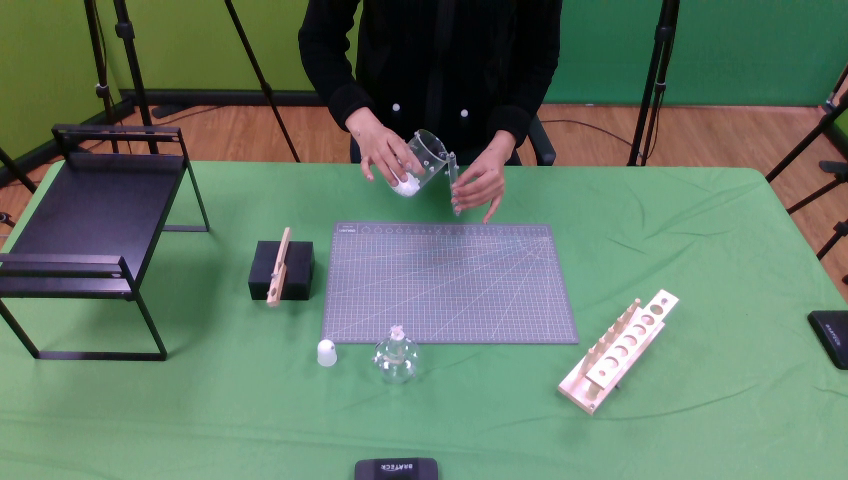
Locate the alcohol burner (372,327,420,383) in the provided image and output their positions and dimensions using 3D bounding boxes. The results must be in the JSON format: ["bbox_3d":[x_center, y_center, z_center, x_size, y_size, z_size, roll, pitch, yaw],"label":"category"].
[{"bbox_3d":[-0.044,0.175,0.961,0.078,0.120,0.077,1,47,-1],"label":"alcohol burner"}]

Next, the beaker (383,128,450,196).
[{"bbox_3d":[-0.013,-0.129,1.027,0.084,0.100,0.073,1,51,-54],"label":"beaker"}]

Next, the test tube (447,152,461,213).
[{"bbox_3d":[0.055,-0.101,1.104,0.017,0.151,0.017,-4,51,5],"label":"test tube"}]

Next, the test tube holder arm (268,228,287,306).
[{"bbox_3d":[-0.258,0.043,1.071,0.013,0.015,0.177,-6,46,1],"label":"test tube holder arm"}]

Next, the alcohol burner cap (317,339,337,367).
[{"bbox_3d":[-0.161,0.182,0.995,0.034,0.048,0.033,2,47,-1],"label":"alcohol burner cap"}]

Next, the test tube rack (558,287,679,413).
[{"bbox_3d":[0.326,0.170,1.009,0.066,0.085,0.242,36,54,26],"label":"test tube rack"}]

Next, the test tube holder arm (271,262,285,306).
[{"bbox_3d":[-0.250,0.075,1.040,0.010,0.015,0.087,-4,46,2],"label":"test tube holder arm"}]
